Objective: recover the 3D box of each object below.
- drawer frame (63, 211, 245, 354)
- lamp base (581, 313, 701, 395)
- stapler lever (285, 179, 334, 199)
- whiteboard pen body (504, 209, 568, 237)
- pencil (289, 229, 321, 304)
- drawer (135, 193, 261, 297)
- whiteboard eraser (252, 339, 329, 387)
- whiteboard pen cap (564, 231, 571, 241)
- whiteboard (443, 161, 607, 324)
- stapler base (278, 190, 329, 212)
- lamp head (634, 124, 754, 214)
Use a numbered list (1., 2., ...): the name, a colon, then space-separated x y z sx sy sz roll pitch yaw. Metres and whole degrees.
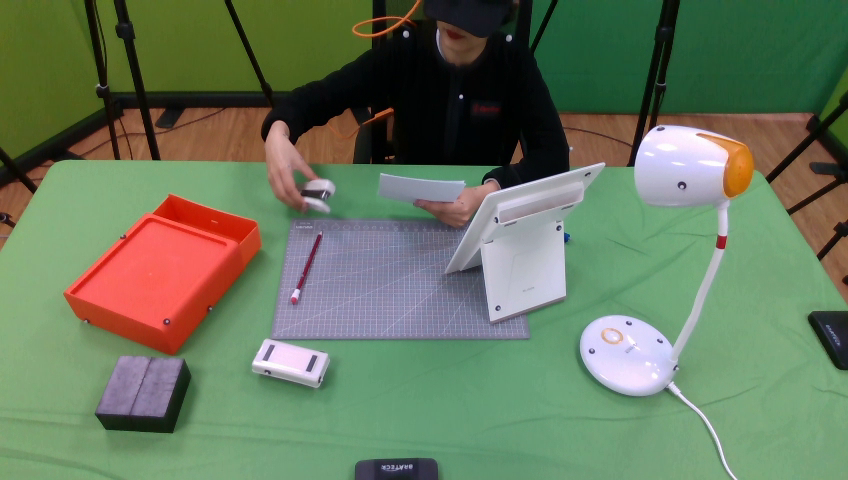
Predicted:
1. drawer frame: -0.459 0.067 1.055 0.201 0.083 0.212 17 48 11
2. lamp base: 0.361 0.144 0.973 0.178 0.181 0.160 34 53 23
3. stapler lever: -0.229 -0.106 1.222 0.117 0.027 0.040 12 69 38
4. whiteboard pen body: 0.230 -0.034 1.248 0.140 0.017 0.017 23 49 17
5. pencil: -0.221 0.045 1.141 0.012 0.012 0.193 8 44 4
6. drawer: -0.437 0.027 1.098 0.194 0.073 0.211 18 48 12
7. whiteboard eraser: -0.215 0.199 0.976 0.112 0.042 0.055 12 45 7
8. whiteboard pen cap: 0.280 -0.011 1.230 0.033 0.018 0.018 25 50 17
9. whiteboard: 0.185 0.026 1.028 0.217 0.306 0.143 -15 68 -18
10. stapler base: -0.238 -0.083 1.215 0.130 0.041 0.024 13 70 38
11. lamp head: 0.351 -0.089 0.776 0.112 0.113 0.122 -30 30 -28
